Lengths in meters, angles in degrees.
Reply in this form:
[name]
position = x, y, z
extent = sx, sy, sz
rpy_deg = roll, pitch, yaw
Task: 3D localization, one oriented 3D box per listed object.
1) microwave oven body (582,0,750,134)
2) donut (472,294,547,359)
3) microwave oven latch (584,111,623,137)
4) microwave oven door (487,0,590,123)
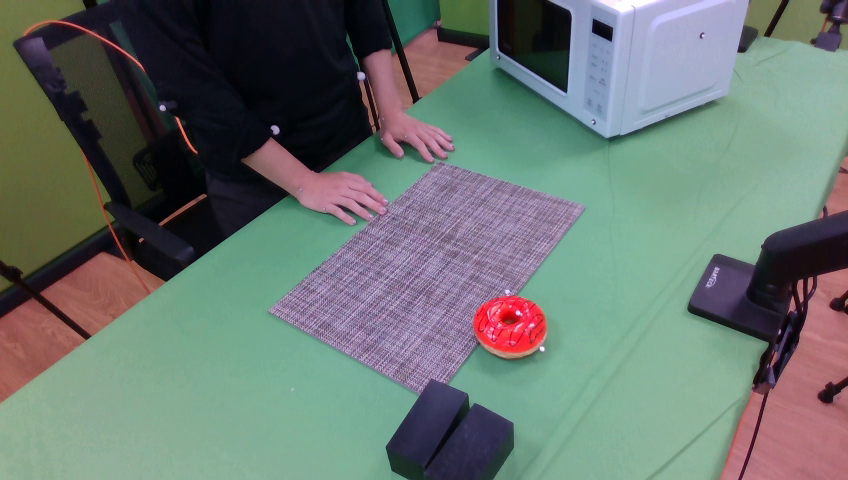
[microwave oven body]
position = 0.382, -0.444, 1.246
extent = 0.327, 0.261, 0.437
rpy_deg = -22, 42, -16
[donut]
position = 0.114, 0.114, 0.803
extent = 0.099, 0.048, 0.098
rpy_deg = 0, 40, 1
[microwave oven latch]
position = 0.337, -0.222, 1.142
extent = 0.030, 0.029, 0.078
rpy_deg = -21, 42, -14
[microwave oven door]
position = 0.232, -0.420, 1.231
extent = 0.039, 0.245, 0.352
rpy_deg = -22, 43, -16
